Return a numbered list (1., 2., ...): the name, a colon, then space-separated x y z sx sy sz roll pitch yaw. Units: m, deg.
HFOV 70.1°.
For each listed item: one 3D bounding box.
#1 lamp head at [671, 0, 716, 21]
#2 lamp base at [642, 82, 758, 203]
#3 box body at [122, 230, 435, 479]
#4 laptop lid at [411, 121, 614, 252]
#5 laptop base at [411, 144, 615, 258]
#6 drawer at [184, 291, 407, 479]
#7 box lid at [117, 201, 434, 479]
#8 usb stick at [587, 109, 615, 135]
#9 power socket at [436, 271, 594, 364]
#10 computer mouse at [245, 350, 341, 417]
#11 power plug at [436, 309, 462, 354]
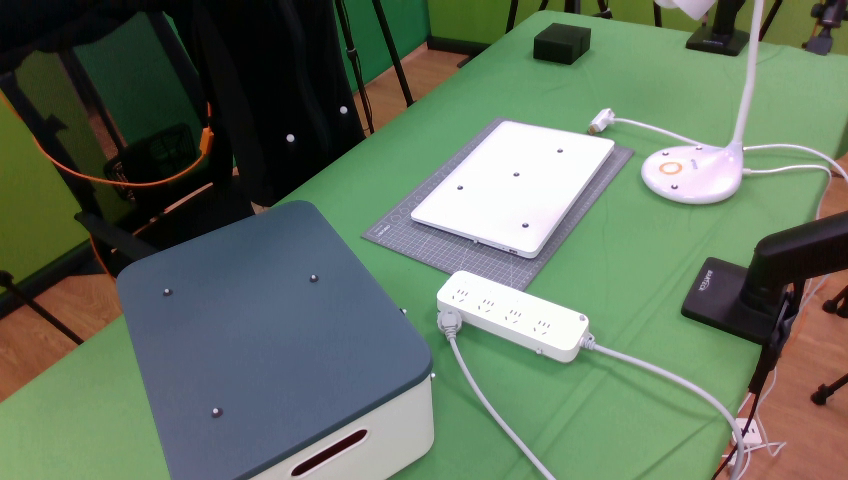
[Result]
1. lamp head: 0.375 -0.373 0.807 0.122 0.113 0.112 -40 27 32
2. lamp base: 0.464 -0.174 0.992 0.179 0.181 0.159 -5 41 -1
3. box body: -0.175 0.142 0.724 0.255 0.161 0.360 -25 43 -20
4. laptop lid: 0.164 -0.112 1.068 0.240 0.013 0.357 19 46 30
5. laptop base: 0.167 -0.102 1.074 0.234 0.023 0.355 17 45 30
6. drawer: -0.155 0.180 0.720 0.195 0.073 0.210 -27 41 -21
7. box lid: -0.182 0.087 0.675 0.264 0.015 0.368 -25 42 -20
8. usb stick: 0.344 -0.229 1.184 0.059 0.021 0.027 -47 21 -8
9. power socket: 0.118 0.102 0.830 0.225 0.033 0.072 20 48 28
10. computer mouse: -0.164 0.173 0.754 0.118 0.041 0.062 -18 33 -18
11. power plug: 0.031 0.126 0.809 0.035 0.053 0.072 6 57 10
